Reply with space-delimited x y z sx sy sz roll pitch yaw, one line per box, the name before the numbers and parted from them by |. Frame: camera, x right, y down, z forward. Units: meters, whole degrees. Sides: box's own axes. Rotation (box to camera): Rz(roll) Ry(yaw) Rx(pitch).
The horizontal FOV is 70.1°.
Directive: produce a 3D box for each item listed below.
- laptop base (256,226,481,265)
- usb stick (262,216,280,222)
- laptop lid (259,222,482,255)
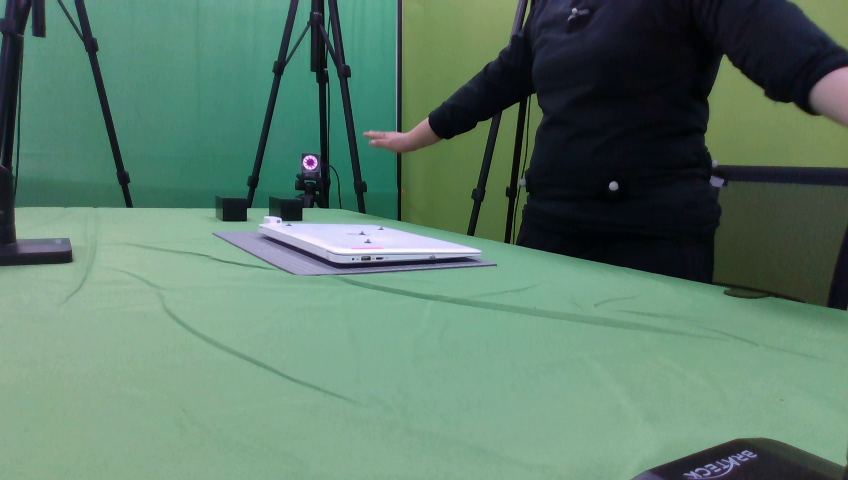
laptop base | -0.103 0.007 0.961 0.237 0.023 0.352 2 6 -32
usb stick | -0.271 -0.028 1.079 0.021 0.027 0.059 -1 10 -29
laptop lid | -0.100 -0.005 0.961 0.243 0.013 0.355 1 7 -30
